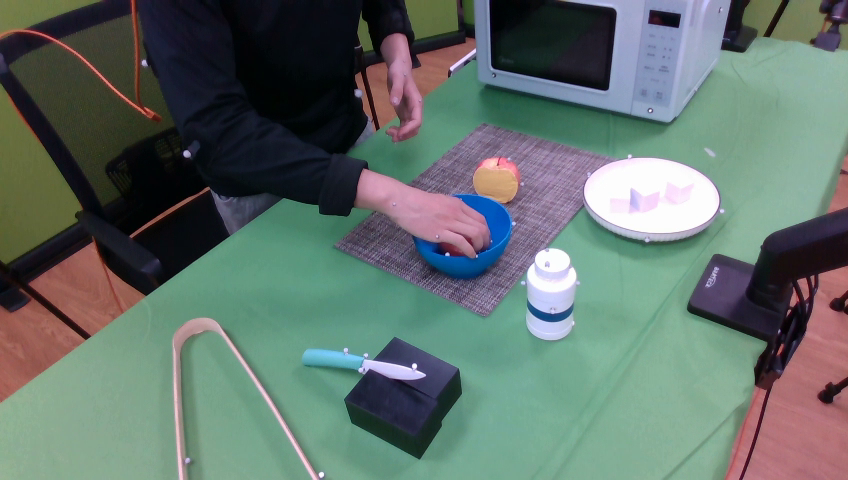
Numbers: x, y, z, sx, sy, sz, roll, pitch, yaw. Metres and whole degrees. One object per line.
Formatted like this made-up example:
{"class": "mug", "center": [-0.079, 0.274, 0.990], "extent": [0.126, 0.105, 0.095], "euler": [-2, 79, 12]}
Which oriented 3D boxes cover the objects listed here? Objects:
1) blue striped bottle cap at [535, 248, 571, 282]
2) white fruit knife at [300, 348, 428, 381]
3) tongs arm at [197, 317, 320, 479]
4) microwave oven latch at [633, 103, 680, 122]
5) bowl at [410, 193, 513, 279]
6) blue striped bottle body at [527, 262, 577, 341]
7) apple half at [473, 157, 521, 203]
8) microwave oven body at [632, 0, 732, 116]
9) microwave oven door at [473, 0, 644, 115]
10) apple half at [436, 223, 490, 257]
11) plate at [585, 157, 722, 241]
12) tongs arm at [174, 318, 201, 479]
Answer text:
{"class": "blue striped bottle cap", "center": [0.161, 0.031, 0.753], "extent": [0.044, 0.021, 0.044], "euler": [-4, 42, 4]}
{"class": "white fruit knife", "center": [-0.079, 0.154, 0.748], "extent": [0.206, 0.027, 0.016], "euler": [0, 20, 34]}
{"class": "tongs arm", "center": [-0.199, 0.206, 0.750], "extent": [0.028, 0.028, 0.384], "euler": [-31, 45, -22]}
{"class": "microwave oven latch", "center": [0.444, -0.249, 1.158], "extent": [0.078, 0.029, 0.030], "euler": [21, 49, 30]}
{"class": "bowl", "center": [0.058, 0.004, 0.905], "extent": [0.151, 0.077, 0.150], "euler": [-4, 40, 4]}
{"class": "blue striped bottle body", "center": [0.165, 0.070, 0.786], "extent": [0.063, 0.121, 0.063], "euler": [-4, 41, 4]}
{"class": "apple half", "center": [0.128, -0.107, 1.030], "extent": [0.080, 0.075, 0.053], "euler": [4, 38, 19]}
{"class": "microwave oven body", "center": [0.377, -0.463, 1.267], "extent": [0.438, 0.261, 0.327], "euler": [21, 49, 30]}
{"class": "microwave oven door", "center": [0.257, -0.396, 1.199], "extent": [0.353, 0.245, 0.039], "euler": [21, 48, 29]}
{"class": "apple half", "center": [0.056, -0.007, 0.891], "extent": [0.081, 0.033, 0.081], "euler": [0, 35, 0]}
{"class": "plate", "center": [0.367, -0.063, 0.979], "extent": [0.207, 0.039, 0.206], "euler": [-4, 40, 4]}
{"class": "tongs arm", "center": [-0.272, 0.234, 0.723], "extent": [0.051, 0.026, 0.381], "euler": [-19, 40, -14]}
